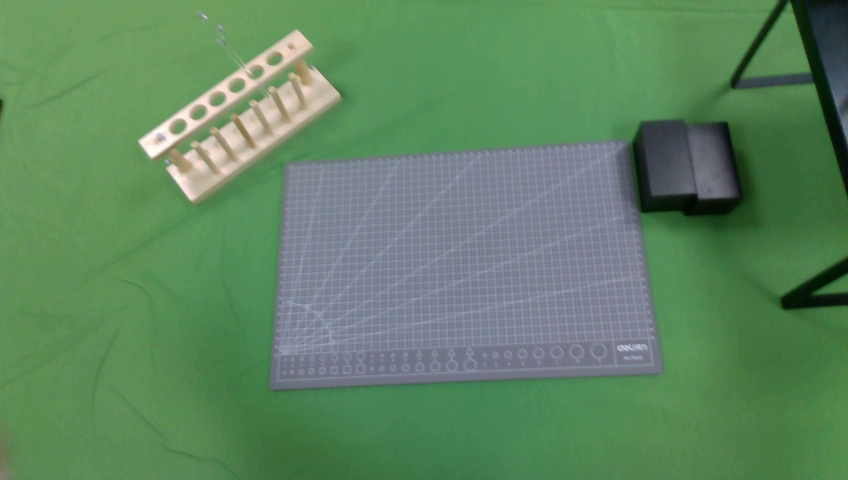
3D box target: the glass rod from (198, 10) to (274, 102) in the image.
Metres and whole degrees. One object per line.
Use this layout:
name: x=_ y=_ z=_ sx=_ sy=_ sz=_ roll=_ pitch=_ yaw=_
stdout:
glass rod: x=-0.222 y=-0.217 z=0.737 sx=0.008 sy=0.201 sz=0.008 roll=-2 pitch=75 yaw=8

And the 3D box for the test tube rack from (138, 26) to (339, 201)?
test tube rack: x=-0.234 y=-0.163 z=0.789 sx=0.242 sy=0.086 sz=0.066 roll=-39 pitch=71 yaw=-9
